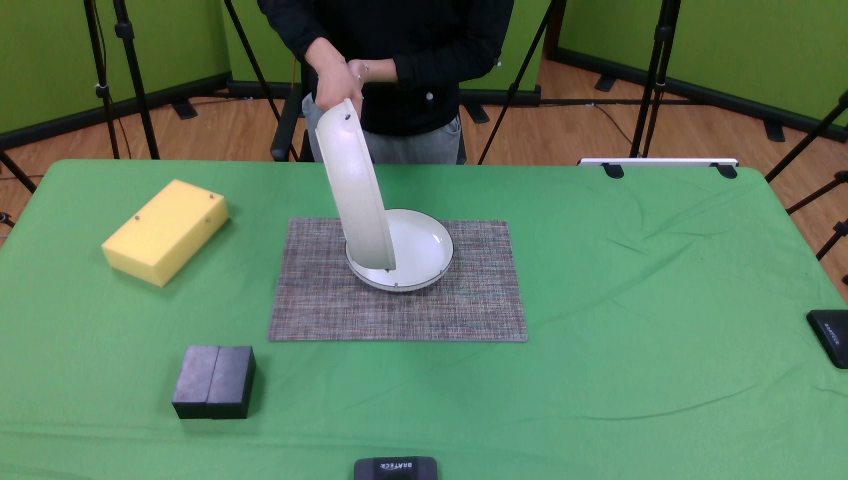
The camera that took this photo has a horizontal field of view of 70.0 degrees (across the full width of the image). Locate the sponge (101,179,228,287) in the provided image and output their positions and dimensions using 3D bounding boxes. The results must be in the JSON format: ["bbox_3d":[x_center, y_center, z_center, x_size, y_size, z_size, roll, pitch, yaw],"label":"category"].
[{"bbox_3d":[-0.486,-0.019,1.151,0.118,0.061,0.206,19,47,12],"label":"sponge"}]

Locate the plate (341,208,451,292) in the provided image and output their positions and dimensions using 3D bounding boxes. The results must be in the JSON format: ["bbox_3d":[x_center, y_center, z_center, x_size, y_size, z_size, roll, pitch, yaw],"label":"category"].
[{"bbox_3d":[-0.053,0.022,1.156,0.208,0.039,0.206,3,46,-2],"label":"plate"}]

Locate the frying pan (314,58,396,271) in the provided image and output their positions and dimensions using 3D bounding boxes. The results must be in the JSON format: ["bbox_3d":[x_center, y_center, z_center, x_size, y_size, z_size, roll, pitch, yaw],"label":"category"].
[{"bbox_3d":[-0.131,-0.163,1.064,0.103,0.308,0.484,-9,52,-2],"label":"frying pan"}]
